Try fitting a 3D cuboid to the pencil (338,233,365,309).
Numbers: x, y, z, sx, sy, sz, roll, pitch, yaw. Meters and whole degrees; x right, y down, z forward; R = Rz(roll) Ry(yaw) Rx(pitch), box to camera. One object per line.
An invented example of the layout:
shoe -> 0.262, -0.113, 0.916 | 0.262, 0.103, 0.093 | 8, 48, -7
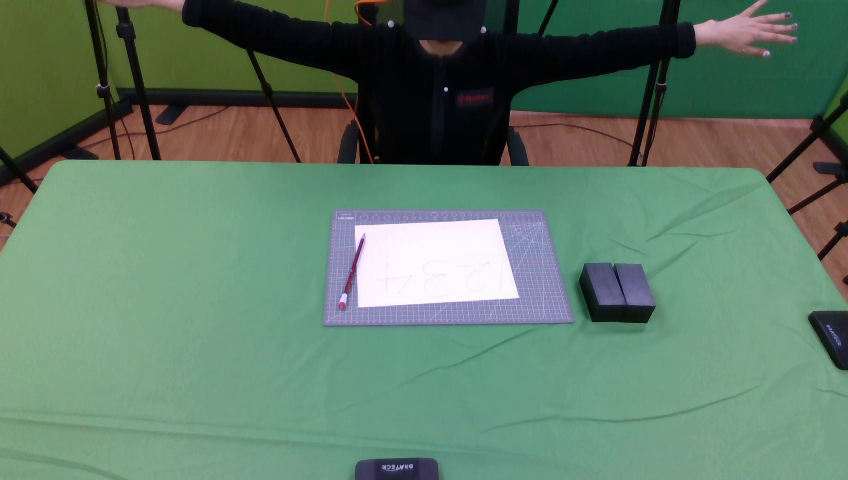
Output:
pencil -> -0.134, 0.053, 1.142 | 0.012, 0.012, 0.193 | 8, 45, 4
